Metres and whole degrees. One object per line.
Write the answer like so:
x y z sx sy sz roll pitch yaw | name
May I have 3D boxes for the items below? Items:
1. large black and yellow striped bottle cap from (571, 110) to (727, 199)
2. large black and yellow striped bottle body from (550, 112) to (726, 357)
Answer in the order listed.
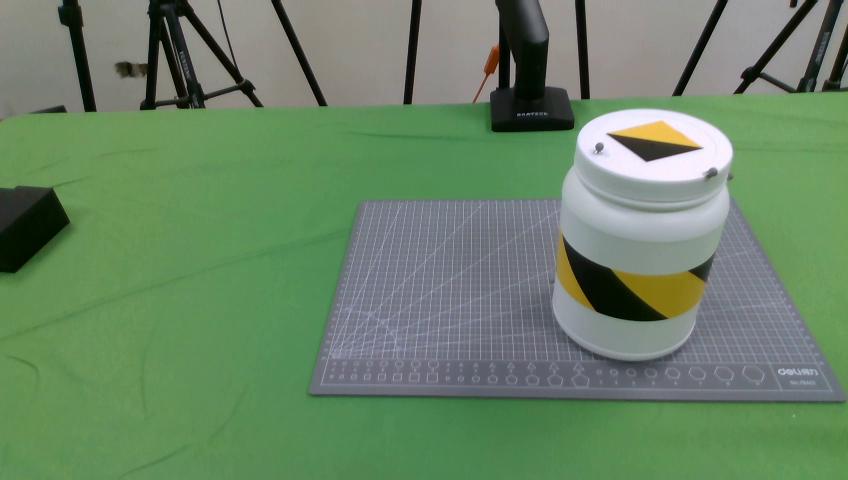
0.173 -0.070 0.473 0.115 0.019 0.114 -2 37 2 | large black and yellow striped bottle cap
0.180 -0.004 0.525 0.131 0.185 0.129 -3 39 2 | large black and yellow striped bottle body
